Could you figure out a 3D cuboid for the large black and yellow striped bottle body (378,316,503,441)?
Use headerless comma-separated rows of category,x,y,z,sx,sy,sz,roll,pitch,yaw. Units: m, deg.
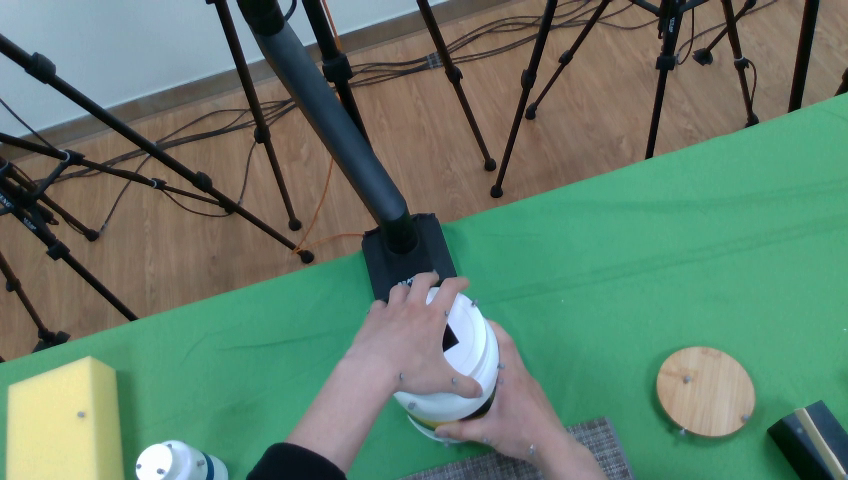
large black and yellow striped bottle body,0.022,0.146,0.695,0.130,0.186,0.129,-5,59,8

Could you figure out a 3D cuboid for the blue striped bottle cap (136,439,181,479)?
blue striped bottle cap,-0.294,0.244,0.670,0.044,0.021,0.044,-4,61,7

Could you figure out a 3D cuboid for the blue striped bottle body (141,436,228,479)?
blue striped bottle body,-0.285,0.271,0.713,0.063,0.122,0.062,-5,59,8

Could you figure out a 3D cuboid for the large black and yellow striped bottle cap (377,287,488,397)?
large black and yellow striped bottle cap,0.008,0.102,0.619,0.115,0.019,0.114,-6,58,10

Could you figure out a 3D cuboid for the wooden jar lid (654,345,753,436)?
wooden jar lid,0.329,0.178,0.717,0.108,0.021,0.107,-4,61,8

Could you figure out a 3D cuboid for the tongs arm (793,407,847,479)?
tongs arm,0.475,0.329,0.559,0.051,0.027,0.381,-21,69,-5

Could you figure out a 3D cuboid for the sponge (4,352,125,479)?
sponge,-0.465,0.264,0.784,0.118,0.061,0.204,-21,59,-3
